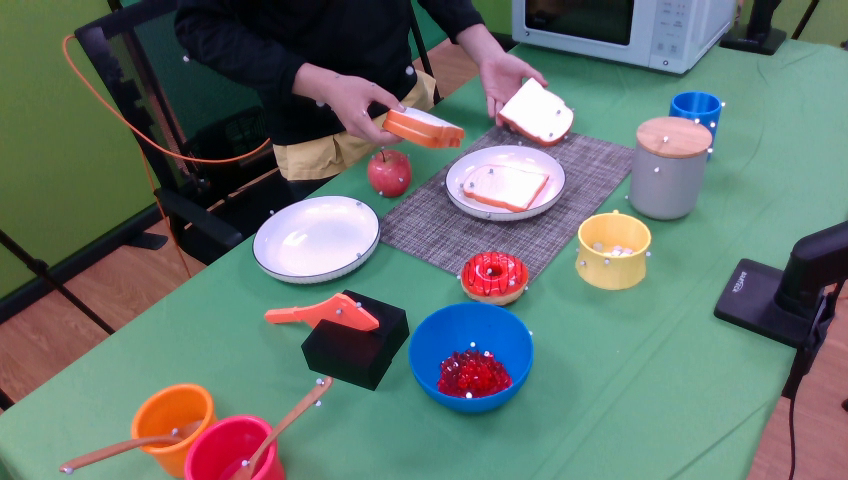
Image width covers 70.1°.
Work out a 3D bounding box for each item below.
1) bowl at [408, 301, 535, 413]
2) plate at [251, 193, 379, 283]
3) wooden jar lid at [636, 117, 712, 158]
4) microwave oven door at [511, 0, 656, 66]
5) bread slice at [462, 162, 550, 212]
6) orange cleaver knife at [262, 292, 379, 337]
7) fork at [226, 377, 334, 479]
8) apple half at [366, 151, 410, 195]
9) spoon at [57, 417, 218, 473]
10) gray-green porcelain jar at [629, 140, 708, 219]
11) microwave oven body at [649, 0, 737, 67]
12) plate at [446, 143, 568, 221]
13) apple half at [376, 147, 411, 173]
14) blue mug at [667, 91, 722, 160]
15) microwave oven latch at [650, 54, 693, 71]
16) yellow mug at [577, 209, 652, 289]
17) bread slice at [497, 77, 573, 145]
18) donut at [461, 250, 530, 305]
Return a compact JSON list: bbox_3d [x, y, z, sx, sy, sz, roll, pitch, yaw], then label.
[{"bbox_3d":[0.060,0.156,0.739,0.151,0.077,0.150,-4,40,4],"label":"bowl"},{"bbox_3d":[-0.174,-0.001,0.984,0.209,0.038,0.208,-4,41,4],"label":"plate"},{"bbox_3d":[0.377,-0.151,0.917,0.108,0.021,0.108,-2,42,3],"label":"wooden jar lid"},{"bbox_3d":[0.351,-0.540,1.349,0.353,0.245,0.039,24,50,31],"label":"microwave oven door"},{"bbox_3d":[0.135,-0.094,1.045,0.133,0.018,0.107,15,45,23],"label":"bread slice"},{"bbox_3d":[-0.145,0.107,0.821,0.210,0.077,0.012,-13,36,43],"label":"orange cleaver knife"},{"bbox_3d":[-0.163,0.216,0.647,0.207,0.019,0.028,-49,41,16],"label":"fork"},{"bbox_3d":[-0.070,-0.114,1.075,0.080,0.075,0.053,17,51,23],"label":"apple half"},{"bbox_3d":[-0.304,0.221,0.661,0.041,0.195,0.021,19,92,27],"label":"spoon"},{"bbox_3d":[0.383,-0.105,0.958,0.106,0.127,0.105,-4,41,4],"label":"gray-green porcelain jar"},{"bbox_3d":[0.475,-0.602,1.411,0.438,0.261,0.327,23,50,32],"label":"microwave oven body"},{"bbox_3d":[0.142,-0.097,1.045,0.207,0.039,0.206,-4,40,4],"label":"plate"},{"bbox_3d":[-0.052,-0.139,1.100,0.081,0.081,0.033,17,51,25],"label":"apple half"},{"bbox_3d":[0.474,-0.207,1.079,0.082,0.106,0.116,4,42,13],"label":"blue mug"},{"bbox_3d":[0.531,-0.386,1.301,0.078,0.029,0.030,26,51,33],"label":"microwave oven latch"},{"bbox_3d":[0.279,0.004,0.893,0.099,0.064,0.130,5,41,15],"label":"yellow mug"},{"bbox_3d":[0.225,-0.249,1.175,0.131,0.019,0.105,40,78,13],"label":"bread slice"},{"bbox_3d":[0.103,0.053,0.872,0.099,0.048,0.098,-4,40,4],"label":"donut"}]
